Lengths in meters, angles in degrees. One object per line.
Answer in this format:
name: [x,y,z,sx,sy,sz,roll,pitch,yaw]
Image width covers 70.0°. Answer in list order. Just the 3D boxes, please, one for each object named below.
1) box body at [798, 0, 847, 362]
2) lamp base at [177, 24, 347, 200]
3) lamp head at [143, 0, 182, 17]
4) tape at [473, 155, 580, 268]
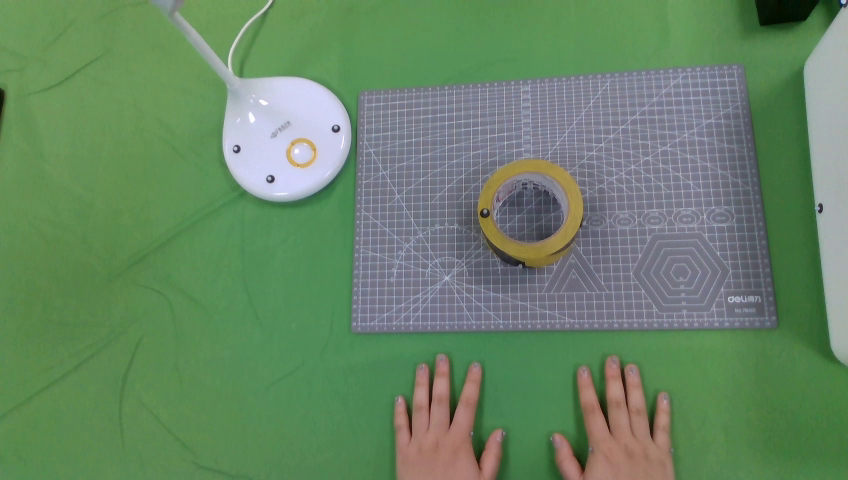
box body: [0.511,-0.062,0.550,0.254,0.161,0.362,0,76,9]
lamp base: [-0.194,-0.151,0.671,0.178,0.181,0.160,38,84,18]
lamp head: [-0.189,-0.221,0.381,0.124,0.112,0.112,29,80,-20]
tape: [0.111,-0.031,0.659,0.117,0.053,0.116,-2,76,7]
